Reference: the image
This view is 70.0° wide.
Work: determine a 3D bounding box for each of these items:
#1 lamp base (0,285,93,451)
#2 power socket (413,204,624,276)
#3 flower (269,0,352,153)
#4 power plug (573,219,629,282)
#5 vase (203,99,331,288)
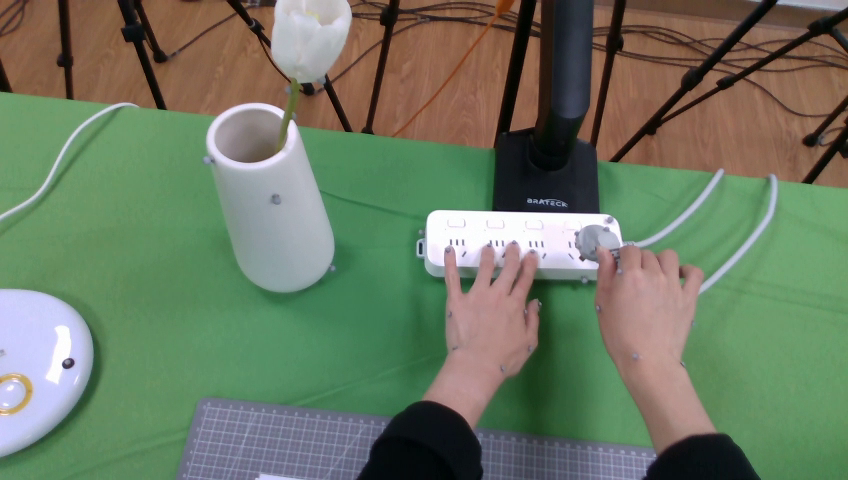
[{"bbox_3d":[-0.394,0.068,0.490,0.178,0.182,0.160,35,63,19],"label":"lamp base"},{"bbox_3d":[0.102,0.000,0.648,0.227,0.033,0.071,2,60,-3],"label":"power socket"},{"bbox_3d":[-0.120,-0.068,0.481,0.044,0.362,0.038,-33,83,-30],"label":"flower"},{"bbox_3d":[0.163,0.014,0.579,0.035,0.053,0.072,1,65,-9],"label":"power plug"},{"bbox_3d":[-0.142,-0.036,0.556,0.098,0.201,0.097,1,59,-1],"label":"vase"}]
